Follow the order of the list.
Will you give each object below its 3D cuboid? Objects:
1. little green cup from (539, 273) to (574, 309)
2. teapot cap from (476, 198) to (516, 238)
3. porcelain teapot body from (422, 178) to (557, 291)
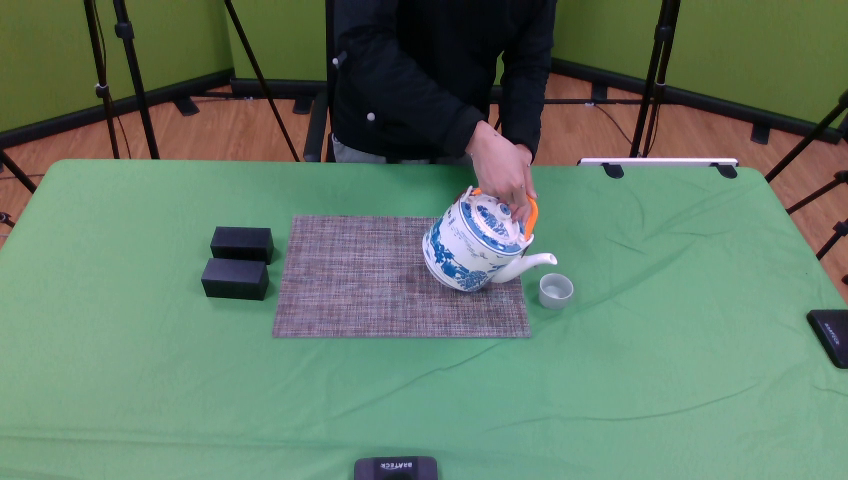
[{"bbox_3d":[0.241,0.096,1.113,0.061,0.039,0.061,3,47,-2],"label":"little green cup"},{"bbox_3d":[0.125,-0.040,1.025,0.085,0.044,0.084,23,45,-24],"label":"teapot cap"},{"bbox_3d":[0.128,-0.001,1.057,0.206,0.225,0.144,36,40,-9],"label":"porcelain teapot body"}]
